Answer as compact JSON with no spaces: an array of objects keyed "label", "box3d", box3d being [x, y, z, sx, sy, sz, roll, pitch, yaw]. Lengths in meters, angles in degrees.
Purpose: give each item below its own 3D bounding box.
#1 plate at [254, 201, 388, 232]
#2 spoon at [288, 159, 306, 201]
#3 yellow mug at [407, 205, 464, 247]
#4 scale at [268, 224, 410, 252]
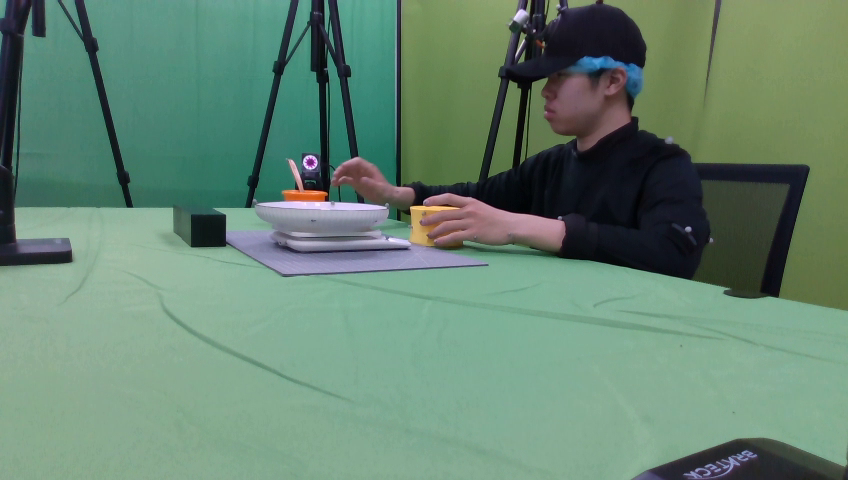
[{"label":"plate","box3d":[-0.161,-0.038,0.961,0.209,0.038,0.209,2,6,0]},{"label":"spoon","box3d":[-0.259,-0.103,1.268,0.042,0.193,0.021,3,-39,-33]},{"label":"yellow mug","box3d":[0.026,-0.027,1.104,0.099,0.064,0.131,7,7,20]},{"label":"scale","box3d":[-0.137,-0.006,0.979,0.202,0.031,0.148,-1,8,-30]}]
